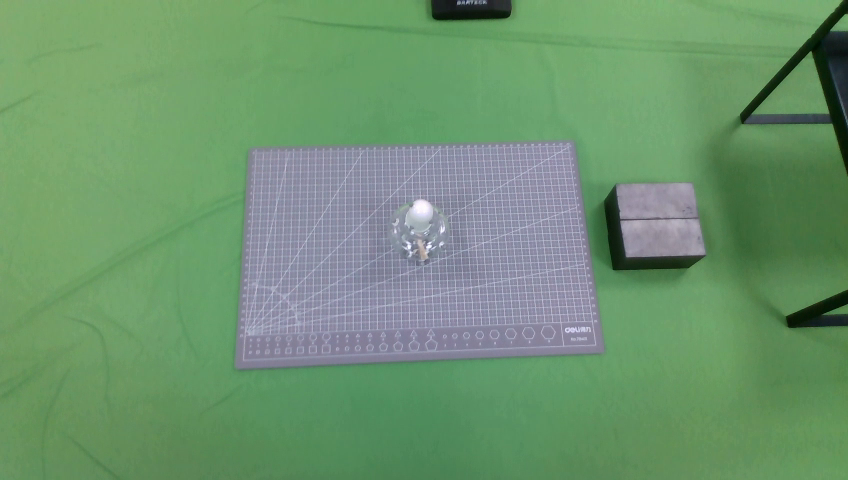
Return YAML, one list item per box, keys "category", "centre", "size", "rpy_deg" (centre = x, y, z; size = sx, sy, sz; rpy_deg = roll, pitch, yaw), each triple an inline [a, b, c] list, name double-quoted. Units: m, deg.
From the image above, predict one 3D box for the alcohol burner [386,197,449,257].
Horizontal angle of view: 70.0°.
- category: "alcohol burner"
  centre: [-0.007, -0.022, 0.736]
  size: [0.078, 0.119, 0.077]
  rpy_deg: [1, 70, -4]

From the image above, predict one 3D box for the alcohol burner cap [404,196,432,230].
- category: "alcohol burner cap"
  centre: [-0.005, -0.033, 0.703]
  size: [0.034, 0.048, 0.033]
  rpy_deg: [1, 73, -4]
